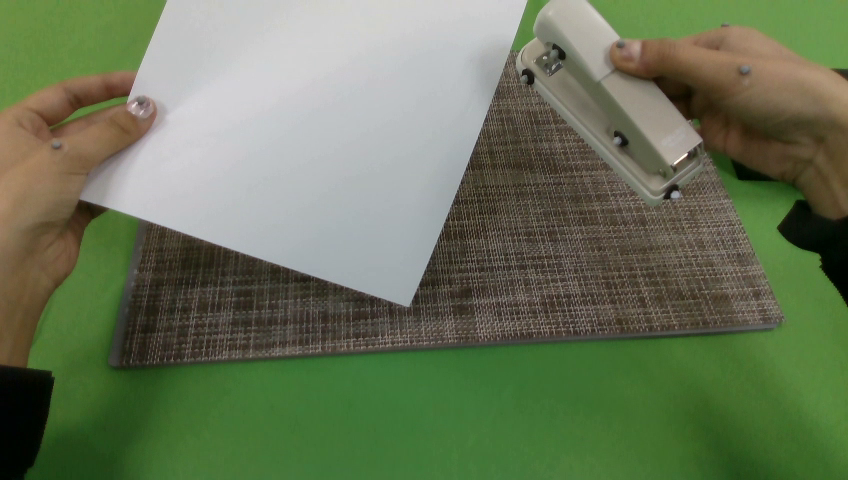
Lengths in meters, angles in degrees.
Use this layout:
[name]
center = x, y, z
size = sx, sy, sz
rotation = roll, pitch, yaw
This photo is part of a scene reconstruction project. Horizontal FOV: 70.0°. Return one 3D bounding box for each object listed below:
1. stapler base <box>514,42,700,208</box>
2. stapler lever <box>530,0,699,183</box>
[stapler base]
center = 0.106, -0.079, 0.359
size = 0.041, 0.024, 0.129
rotation = -38, 73, -2
[stapler lever]
center = 0.104, -0.086, 0.335
size = 0.027, 0.040, 0.117
rotation = -38, 72, -2
